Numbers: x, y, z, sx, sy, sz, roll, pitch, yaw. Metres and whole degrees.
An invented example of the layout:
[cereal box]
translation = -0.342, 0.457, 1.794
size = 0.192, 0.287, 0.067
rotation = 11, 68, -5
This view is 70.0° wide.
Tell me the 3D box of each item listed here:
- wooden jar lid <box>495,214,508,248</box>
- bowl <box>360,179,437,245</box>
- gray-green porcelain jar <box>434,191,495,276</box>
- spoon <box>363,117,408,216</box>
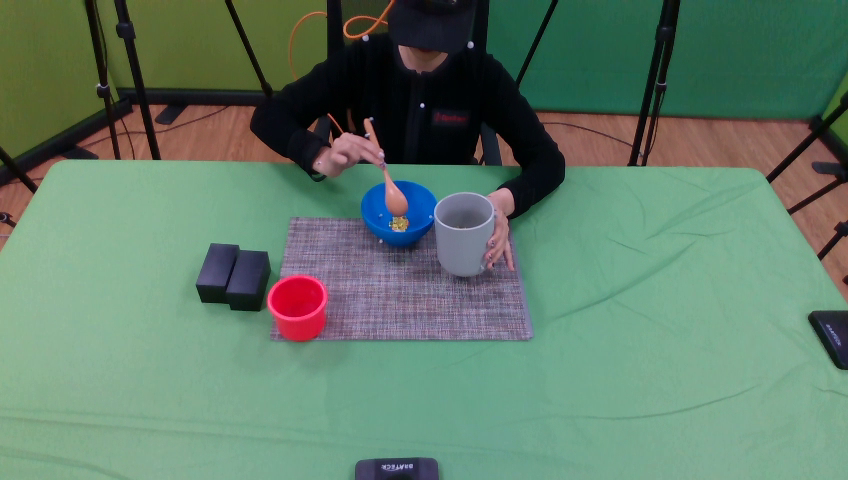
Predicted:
[wooden jar lid]
translation = 0.115, -0.018, 1.220
size = 0.108, 0.021, 0.107
rotation = 3, 47, -3
[bowl]
translation = -0.049, -0.042, 1.190
size = 0.151, 0.077, 0.150
rotation = 2, 46, -2
[gray-green porcelain jar]
translation = 0.074, -0.007, 1.086
size = 0.106, 0.127, 0.105
rotation = -3, 43, 3
[spoon]
translation = -0.077, -0.137, 1.136
size = 0.041, 0.021, 0.193
rotation = -20, 92, 11
